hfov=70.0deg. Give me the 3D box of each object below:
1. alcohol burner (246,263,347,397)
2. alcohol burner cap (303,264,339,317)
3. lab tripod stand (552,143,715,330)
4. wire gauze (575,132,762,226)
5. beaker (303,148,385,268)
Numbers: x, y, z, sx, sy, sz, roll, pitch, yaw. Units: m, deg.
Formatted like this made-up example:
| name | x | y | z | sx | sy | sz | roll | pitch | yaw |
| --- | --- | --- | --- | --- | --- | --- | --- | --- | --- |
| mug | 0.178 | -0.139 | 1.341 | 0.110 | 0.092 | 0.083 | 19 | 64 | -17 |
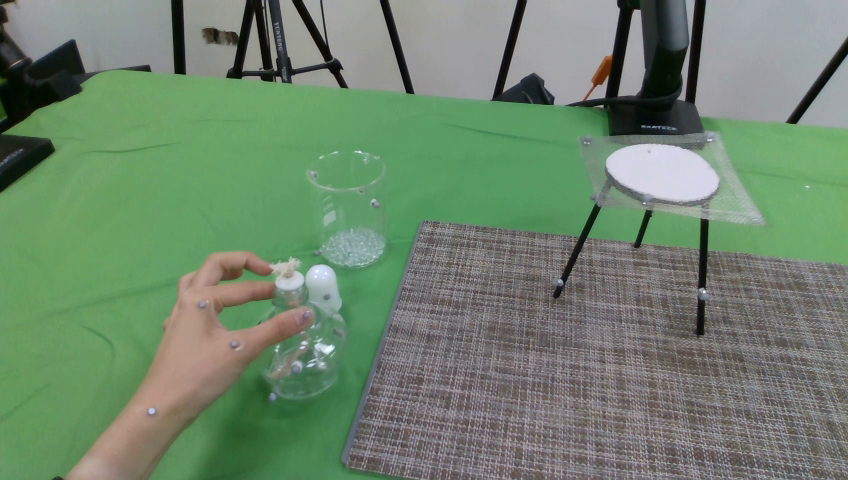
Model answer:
| name | x | y | z | sx | sy | sz | roll | pitch | yaw |
| --- | --- | --- | --- | --- | --- | --- | --- | --- | --- |
| alcohol burner | -0.097 | 0.062 | 0.459 | 0.078 | 0.120 | 0.077 | 2 | 39 | -1 |
| alcohol burner cap | -0.096 | 0.044 | 0.553 | 0.034 | 0.048 | 0.033 | 0 | 39 | 0 |
| lab tripod stand | 0.195 | -0.005 | 0.533 | 0.148 | 0.132 | 0.147 | 1 | 39 | -1 |
| wire gauze | 0.190 | -0.055 | 0.487 | 0.125 | 0.011 | 0.120 | 4 | 40 | 3 |
| beaker | -0.074 | -0.031 | 0.599 | 0.073 | 0.101 | 0.083 | 16 | 41 | 19 |
